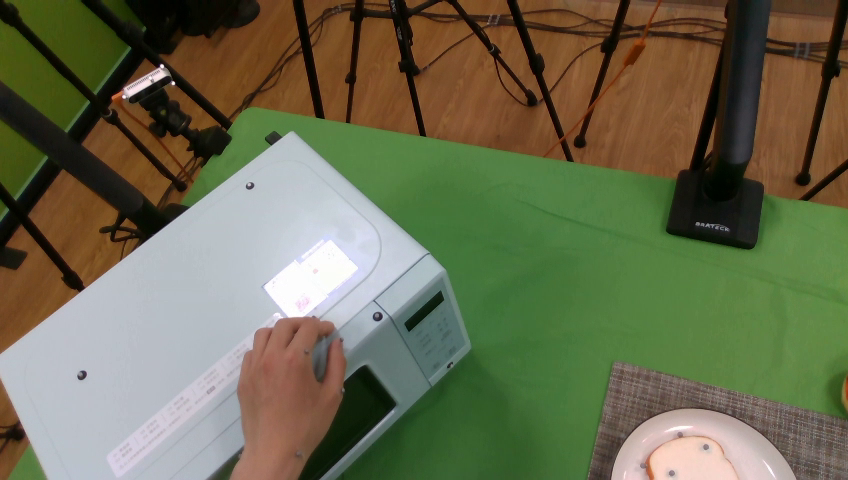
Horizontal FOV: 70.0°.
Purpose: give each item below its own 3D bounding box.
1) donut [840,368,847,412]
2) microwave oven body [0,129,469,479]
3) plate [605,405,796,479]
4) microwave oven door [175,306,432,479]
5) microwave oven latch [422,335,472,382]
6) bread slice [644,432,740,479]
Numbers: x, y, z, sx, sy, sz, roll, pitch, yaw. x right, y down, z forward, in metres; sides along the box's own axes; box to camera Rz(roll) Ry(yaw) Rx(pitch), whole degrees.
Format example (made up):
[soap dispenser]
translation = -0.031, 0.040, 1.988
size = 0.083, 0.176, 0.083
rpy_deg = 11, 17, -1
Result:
[donut]
translation = 0.542, 0.182, 0.705
size = 0.099, 0.049, 0.098
rpy_deg = -7, 54, 11
[microwave oven body]
translation = -0.215, 0.135, 0.769
size = 0.441, 0.263, 0.323
rpy_deg = -42, 61, -12
[plate]
translation = 0.313, 0.295, 0.690
size = 0.207, 0.039, 0.205
rpy_deg = -5, 59, 9
[microwave oven door]
translation = -0.152, 0.243, 0.685
size = 0.355, 0.246, 0.039
rpy_deg = -41, 59, -13
[microwave oven latch]
translation = 0.030, 0.154, 0.819
size = 0.079, 0.030, 0.030
rpy_deg = -40, 60, -11
[bread slice]
translation = 0.312, 0.289, 0.694
size = 0.105, 0.019, 0.130
rpy_deg = -14, 58, 3
